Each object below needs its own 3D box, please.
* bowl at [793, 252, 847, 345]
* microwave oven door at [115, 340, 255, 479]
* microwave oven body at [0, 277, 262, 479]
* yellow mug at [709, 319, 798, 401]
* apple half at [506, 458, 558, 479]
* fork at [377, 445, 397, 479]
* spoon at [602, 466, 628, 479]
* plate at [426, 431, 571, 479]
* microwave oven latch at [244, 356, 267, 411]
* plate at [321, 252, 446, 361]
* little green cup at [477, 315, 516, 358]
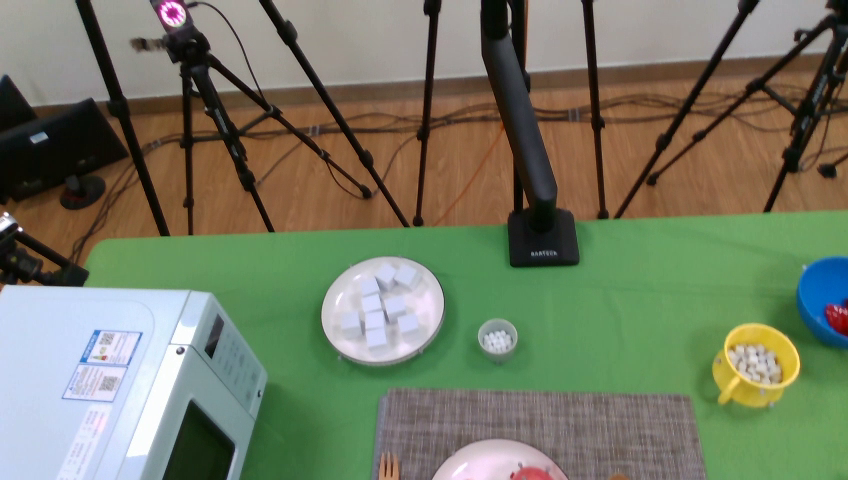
[{"bbox_3d":[0.624,0.101,0.904,0.151,0.077,0.150,-4,53,5],"label":"bowl"},{"bbox_3d":[-0.300,0.330,0.718,0.039,0.246,0.352,1,53,8],"label":"microwave oven door"},{"bbox_3d":[-0.440,0.297,0.767,0.325,0.263,0.437,1,54,8],"label":"microwave oven body"},{"bbox_3d":[0.461,0.182,0.870,0.131,0.064,0.099,-36,57,-18],"label":"yellow mug"},{"bbox_3d":[0.149,0.311,0.791,0.081,0.033,0.081,14,16,-4],"label":"apple half"},{"bbox_3d":[-0.053,0.378,0.810,0.028,0.019,0.205,1,51,1],"label":"fork"},{"bbox_3d":[0.258,0.385,0.762,0.042,0.022,0.191,8,50,-15],"label":"spoon"},{"bbox_3d":[0.098,0.357,0.794,0.209,0.038,0.207,-4,52,5],"label":"plate"},{"bbox_3d":[-0.264,0.219,0.928,0.030,0.030,0.078,3,54,9],"label":"microwave oven latch"},{"bbox_3d":[-0.066,0.112,1.009,0.207,0.039,0.205,-3,52,5],"label":"plate"},{"bbox_3d":[0.115,0.154,0.954,0.061,0.039,0.061,-4,52,5],"label":"little green cup"}]
